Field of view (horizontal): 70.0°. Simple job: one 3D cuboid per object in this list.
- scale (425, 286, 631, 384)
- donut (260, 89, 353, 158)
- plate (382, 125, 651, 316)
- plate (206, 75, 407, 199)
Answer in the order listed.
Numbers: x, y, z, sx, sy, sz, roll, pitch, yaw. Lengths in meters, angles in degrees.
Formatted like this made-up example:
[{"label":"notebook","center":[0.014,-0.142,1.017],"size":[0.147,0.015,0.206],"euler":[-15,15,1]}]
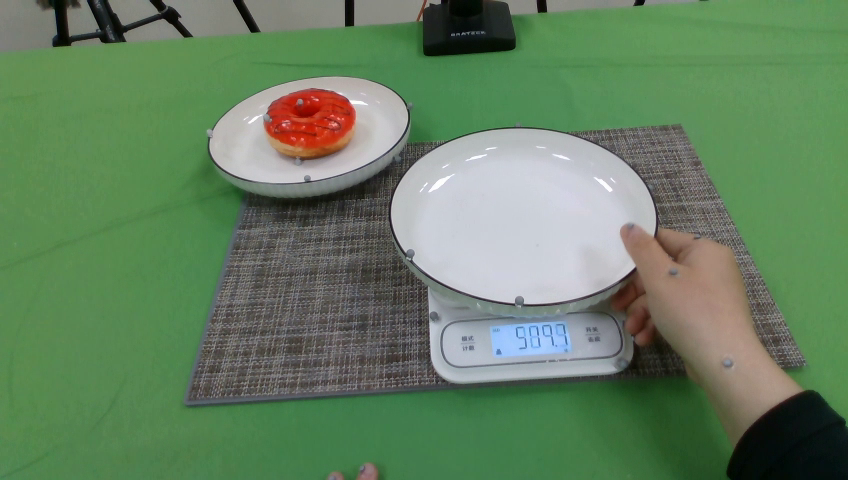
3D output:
[{"label":"scale","center":[0.075,0.022,0.495],"size":[0.148,0.032,0.199],"euler":[-4,46,2]},{"label":"donut","center":[-0.123,-0.123,0.639],"size":[0.099,0.049,0.098],"euler":[-2,43,2]},{"label":"plate","center":[0.072,-0.018,0.488],"size":[0.207,0.039,0.205],"euler":[-2,46,2]},{"label":"plate","center":[-0.120,-0.108,0.638],"size":[0.209,0.038,0.207],"euler":[-3,43,3]}]
